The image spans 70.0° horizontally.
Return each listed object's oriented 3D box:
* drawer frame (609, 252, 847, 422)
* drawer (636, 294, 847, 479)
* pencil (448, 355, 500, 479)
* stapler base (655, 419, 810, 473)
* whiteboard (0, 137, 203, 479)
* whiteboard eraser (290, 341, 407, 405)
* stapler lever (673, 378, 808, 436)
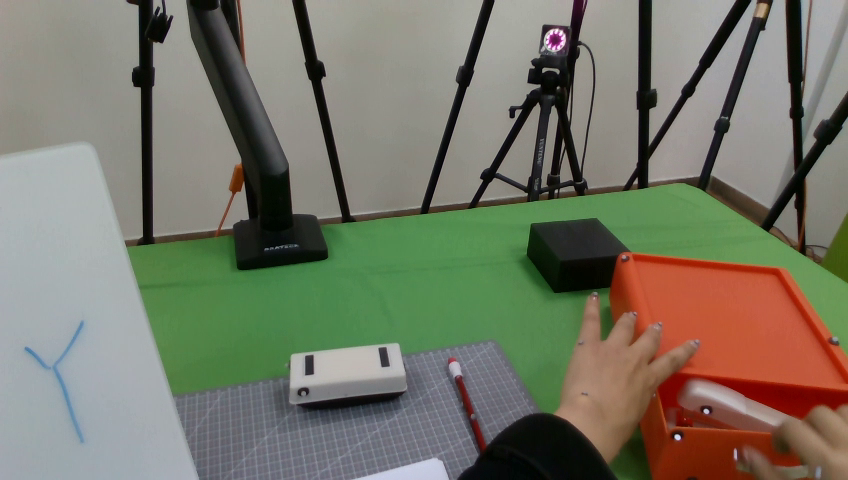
[{"bbox_3d":[0.314,0.106,0.646,0.201,0.083,0.212,5,30,5],"label":"drawer frame"},{"bbox_3d":[0.306,0.140,0.588,0.194,0.074,0.210,5,29,5],"label":"drawer"},{"bbox_3d":[0.049,0.176,0.570,0.012,0.012,0.192,-4,32,-11],"label":"pencil"},{"bbox_3d":[0.285,0.183,0.563,0.130,0.024,0.041,9,17,10],"label":"stapler base"},{"bbox_3d":[-0.317,0.098,0.438,0.218,0.307,0.143,-20,18,-32],"label":"whiteboard"},{"bbox_3d":[-0.075,0.133,0.600,0.113,0.042,0.055,-3,32,-11],"label":"whiteboard eraser"},{"bbox_3d":[0.290,0.157,0.556,0.118,0.040,0.027,11,18,9],"label":"stapler lever"}]
